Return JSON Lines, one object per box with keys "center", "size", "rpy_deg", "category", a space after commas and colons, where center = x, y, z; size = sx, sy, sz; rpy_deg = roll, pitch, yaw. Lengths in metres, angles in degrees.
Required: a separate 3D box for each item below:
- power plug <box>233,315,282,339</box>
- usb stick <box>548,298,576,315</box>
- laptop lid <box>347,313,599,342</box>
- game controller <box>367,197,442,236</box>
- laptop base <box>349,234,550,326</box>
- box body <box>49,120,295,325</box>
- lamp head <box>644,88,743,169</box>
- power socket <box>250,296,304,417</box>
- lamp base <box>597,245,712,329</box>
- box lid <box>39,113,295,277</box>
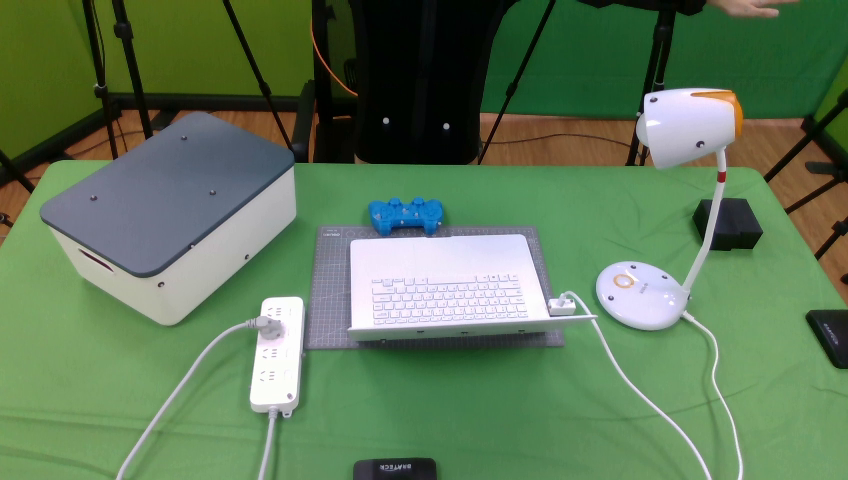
{"center": [-0.271, 0.144, 0.999], "size": [0.072, 0.053, 0.035], "rpy_deg": [5, 47, 3], "category": "power plug"}
{"center": [0.240, 0.119, 1.086], "size": [0.059, 0.027, 0.021], "rpy_deg": [-2, 52, -2], "category": "usb stick"}
{"center": [0.062, 0.138, 0.932], "size": [0.357, 0.242, 0.013], "rpy_deg": [-2, 77, -8], "category": "laptop lid"}
{"center": [-0.037, -0.057, 1.231], "size": [0.155, 0.052, 0.096], "rpy_deg": [-2, 49, -5], "category": "game controller"}
{"center": [0.040, 0.080, 1.125], "size": [0.355, 0.023, 0.234], "rpy_deg": [-2, 43, -6], "category": "laptop base"}
{"center": [-0.437, -0.046, 1.110], "size": [0.253, 0.161, 0.363], "rpy_deg": [24, 49, 19], "category": "box body"}
{"center": [0.380, -0.161, 0.851], "size": [0.122, 0.113, 0.112], "rpy_deg": [-4, 42, 25], "category": "lamp head"}
{"center": [-0.239, 0.182, 0.996], "size": [0.072, 0.033, 0.225], "rpy_deg": [-2, 47, -5], "category": "power socket"}
{"center": [0.418, 0.051, 1.072], "size": [0.179, 0.181, 0.160], "rpy_deg": [22, 49, 13], "category": "lamp base"}
{"center": [-0.435, -0.096, 1.056], "size": [0.262, 0.015, 0.370], "rpy_deg": [25, 48, 18], "category": "box lid"}
